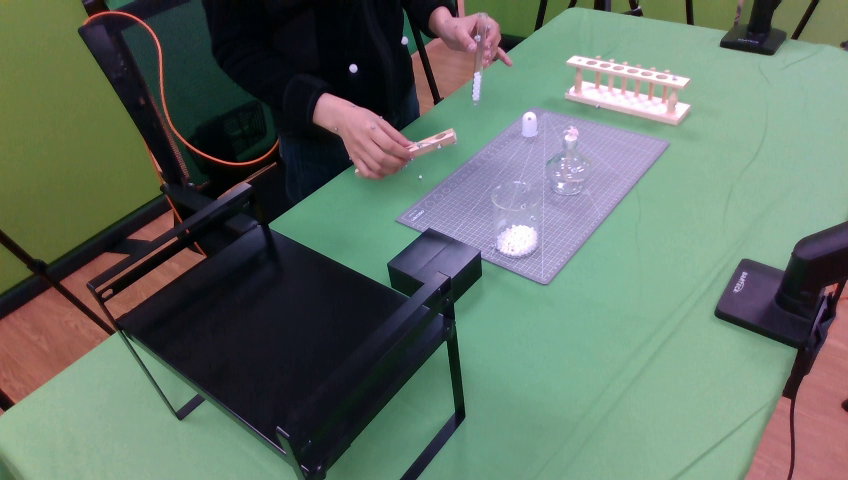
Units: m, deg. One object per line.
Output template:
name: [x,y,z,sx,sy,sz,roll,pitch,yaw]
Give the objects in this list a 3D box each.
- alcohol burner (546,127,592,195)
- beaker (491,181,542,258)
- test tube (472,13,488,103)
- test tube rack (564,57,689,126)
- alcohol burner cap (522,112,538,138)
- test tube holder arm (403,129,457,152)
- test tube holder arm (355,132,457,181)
alcohol burner: [0.246,-0.137,1.024,0.078,0.119,0.077,-4,38,4]
beaker: [0.144,-0.030,0.925,0.073,0.100,0.084,23,48,31]
test tube: [0.096,-0.312,1.044,0.017,0.150,0.017,2,30,-1]
test tube rack: [0.411,-0.311,1.230,0.240,0.085,0.067,23,50,32]
alcohol burner cap: [0.210,-0.230,1.195,0.034,0.048,0.033,-5,41,5]
test tube holder arm: [0.009,-0.148,0.930,0.087,0.015,0.010,-20,39,21]
test tube holder arm: [-0.031,-0.130,0.942,0.178,0.015,0.013,-20,39,20]
